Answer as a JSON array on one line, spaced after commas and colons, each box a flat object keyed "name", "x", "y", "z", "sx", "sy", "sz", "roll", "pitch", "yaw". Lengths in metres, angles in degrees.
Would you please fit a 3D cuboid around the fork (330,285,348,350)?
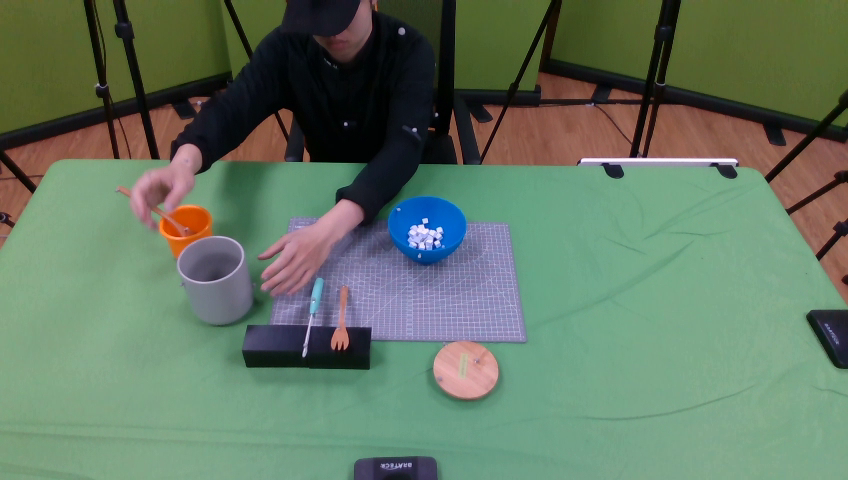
[{"name": "fork", "x": -0.140, "y": 0.127, "z": 1.021, "sx": 0.028, "sy": 0.019, "sz": 0.206, "roll": -5, "pitch": 28, "yaw": -2}]

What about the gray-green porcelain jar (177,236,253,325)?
[{"name": "gray-green porcelain jar", "x": -0.350, "y": 0.073, "z": 1.027, "sx": 0.106, "sy": 0.127, "sz": 0.105, "roll": 2, "pitch": 46, "yaw": -2}]

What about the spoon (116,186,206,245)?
[{"name": "spoon", "x": -0.474, "y": -0.041, "z": 1.112, "sx": 0.021, "sy": 0.195, "sz": 0.041, "roll": -31, "pitch": 31, "yaw": 29}]

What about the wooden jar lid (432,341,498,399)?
[{"name": "wooden jar lid", "x": 0.067, "y": 0.216, "z": 0.997, "sx": 0.108, "sy": 0.021, "sz": 0.107, "roll": 1, "pitch": 46, "yaw": -1}]

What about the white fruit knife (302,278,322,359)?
[{"name": "white fruit knife", "x": -0.190, "y": 0.126, "z": 1.020, "sx": 0.016, "sy": 0.027, "sz": 0.206, "roll": 1, "pitch": 33, "yaw": -3}]

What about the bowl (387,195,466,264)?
[{"name": "bowl", "x": 0.003, "y": -0.007, "z": 1.162, "sx": 0.151, "sy": 0.077, "sz": 0.150, "roll": 2, "pitch": 46, "yaw": -2}]
